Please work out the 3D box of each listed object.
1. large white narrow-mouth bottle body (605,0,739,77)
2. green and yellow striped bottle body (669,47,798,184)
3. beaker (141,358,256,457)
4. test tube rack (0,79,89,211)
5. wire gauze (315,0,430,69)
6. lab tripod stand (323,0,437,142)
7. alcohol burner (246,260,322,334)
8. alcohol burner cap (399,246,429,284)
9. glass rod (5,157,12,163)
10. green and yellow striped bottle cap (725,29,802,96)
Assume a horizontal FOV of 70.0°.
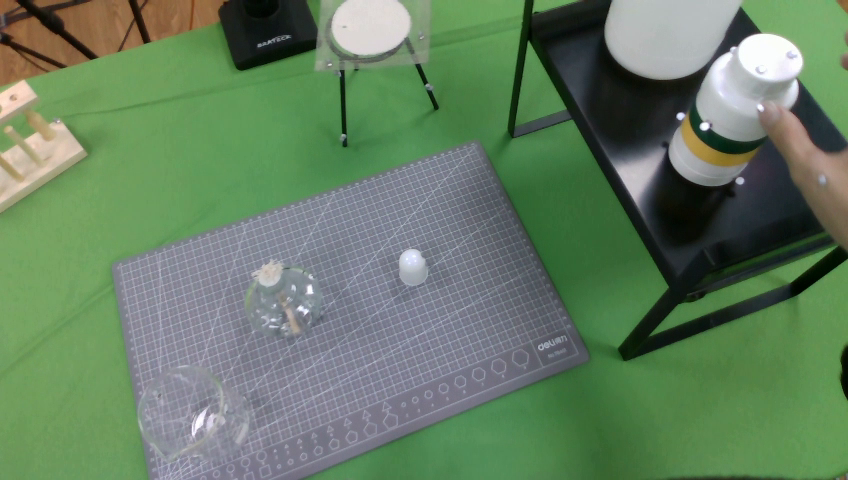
[{"bbox_3d":[0.214,-0.228,0.485,0.102,0.196,0.101,-1,65,3],"label":"large white narrow-mouth bottle body"},{"bbox_3d":[0.237,-0.100,0.465,0.063,0.120,0.062,-1,64,2],"label":"green and yellow striped bottle body"},{"bbox_3d":[-0.204,0.163,0.564,0.074,0.101,0.083,6,66,6],"label":"beaker"},{"bbox_3d":[-0.530,-0.074,0.697,0.242,0.086,0.066,-40,69,-15],"label":"test tube rack"},{"bbox_3d":[-0.054,-0.237,0.656,0.121,0.011,0.124,0,66,0],"label":"wire gauze"},{"bbox_3d":[-0.058,-0.204,0.716,0.148,0.132,0.147,0,63,1],"label":"lab tripod stand"},{"bbox_3d":[-0.143,0.051,0.607,0.078,0.120,0.077,0,63,1],"label":"alcohol burner"},{"bbox_3d":[-0.012,0.024,0.655,0.034,0.048,0.033,-1,64,2],"label":"alcohol burner cap"},{"bbox_3d":[-0.524,-0.140,0.655,0.008,0.201,0.008,-5,61,9],"label":"glass rod"},{"bbox_3d":[0.234,-0.123,0.418,0.045,0.020,0.045,0,66,1],"label":"green and yellow striped bottle cap"}]
